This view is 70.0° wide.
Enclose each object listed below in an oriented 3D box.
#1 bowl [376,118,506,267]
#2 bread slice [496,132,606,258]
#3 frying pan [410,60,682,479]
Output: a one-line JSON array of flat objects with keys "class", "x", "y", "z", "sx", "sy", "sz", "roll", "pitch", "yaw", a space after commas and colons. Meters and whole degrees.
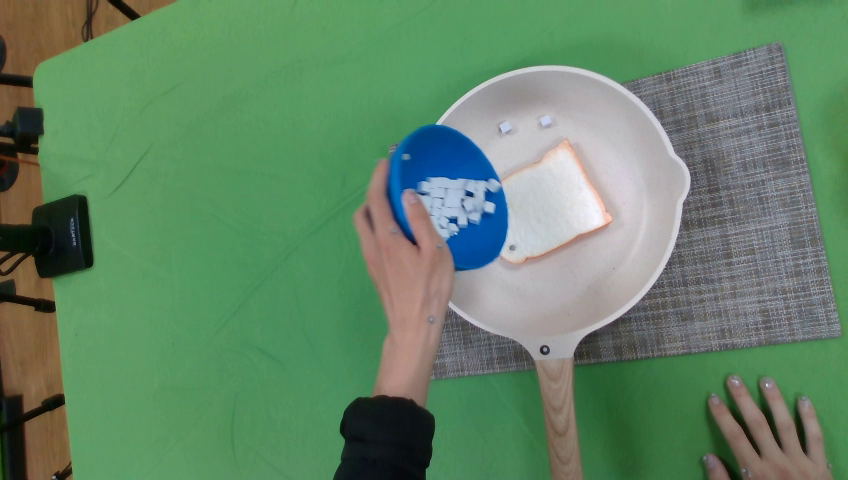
[{"class": "bowl", "x": 0.004, "y": -0.038, "z": 0.615, "sx": 0.076, "sy": 0.152, "sz": 0.151, "roll": -21, "pitch": 80, "yaw": 44}, {"class": "bread slice", "x": 0.126, "y": -0.041, "z": 0.689, "sx": 0.134, "sy": 0.018, "sz": 0.106, "roll": -33, "pitch": 77, "yaw": 16}, {"class": "frying pan", "x": 0.125, "y": 0.057, "z": 0.645, "sx": 0.306, "sy": 0.103, "sz": 0.485, "roll": -8, "pitch": 77, "yaw": 22}]
